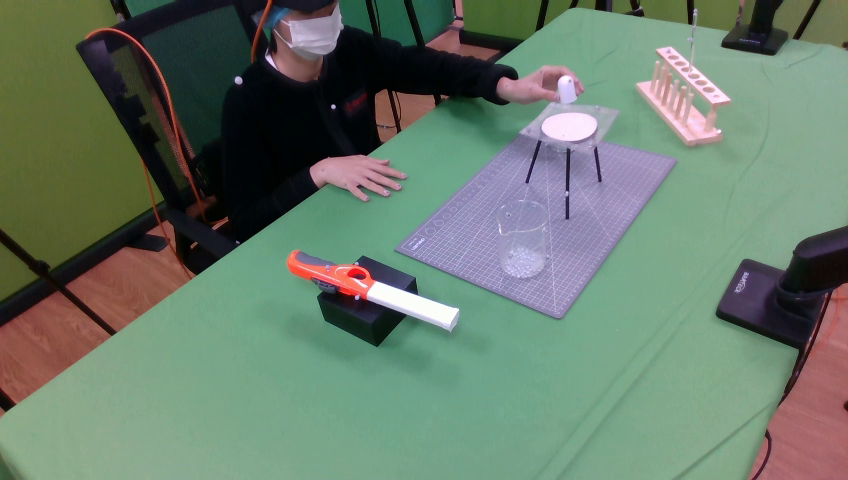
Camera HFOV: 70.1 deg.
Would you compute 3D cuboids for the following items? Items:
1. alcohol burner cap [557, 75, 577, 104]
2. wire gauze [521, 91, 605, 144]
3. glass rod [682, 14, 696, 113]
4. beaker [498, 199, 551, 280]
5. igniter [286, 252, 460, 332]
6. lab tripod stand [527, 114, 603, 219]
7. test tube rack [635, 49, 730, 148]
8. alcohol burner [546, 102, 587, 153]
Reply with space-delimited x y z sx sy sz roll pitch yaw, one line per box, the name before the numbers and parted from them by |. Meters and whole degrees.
alcohol burner cap | 0.256 -0.272 1.086 0.034 0.048 0.033 -12 35 9
wire gauze | 0.219 -0.191 0.948 0.121 0.011 0.125 8 49 13
glass rod | 0.495 -0.326 1.132 0.008 0.201 0.008 -8 42 8
beaker | 0.144 0.003 0.884 0.073 0.101 0.084 28 52 36
igniter | -0.080 0.067 0.832 0.275 0.025 0.057 17 46 22
lab tripod stand | 0.234 -0.129 1.002 0.148 0.132 0.147 -6 40 6
test tube rack | 0.497 -0.283 1.185 0.067 0.085 0.240 -10 40 -2
alcohol burner | 0.263 -0.222 1.124 0.078 0.119 0.077 -5 42 5
